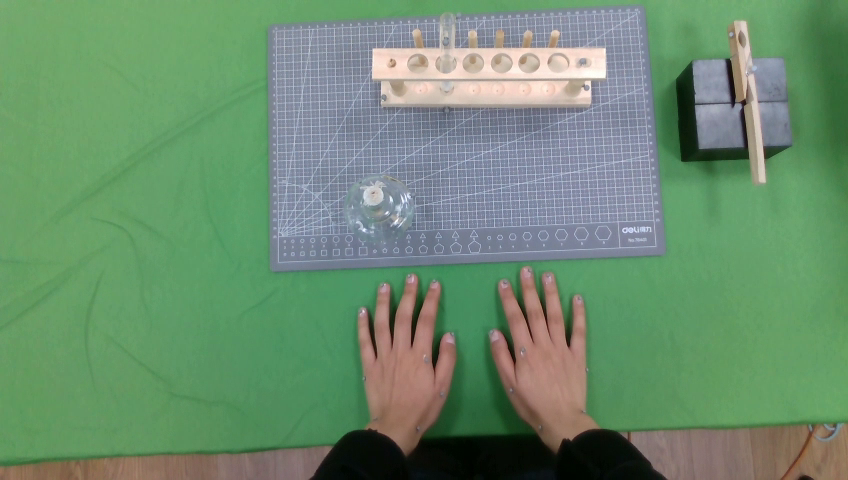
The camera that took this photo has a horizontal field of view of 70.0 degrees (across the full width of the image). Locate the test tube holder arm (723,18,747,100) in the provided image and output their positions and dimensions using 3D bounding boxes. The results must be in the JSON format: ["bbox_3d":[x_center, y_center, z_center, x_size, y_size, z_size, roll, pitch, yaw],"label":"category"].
[{"bbox_3d":[0.336,-0.194,0.651,0.010,0.015,0.087,-6,84,-3],"label":"test tube holder arm"}]

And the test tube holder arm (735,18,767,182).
[{"bbox_3d":[0.347,-0.150,0.647,0.013,0.015,0.178,-7,84,-3],"label":"test tube holder arm"}]

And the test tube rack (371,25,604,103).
[{"bbox_3d":[0.067,-0.198,0.672,0.242,0.085,0.066,1,83,2],"label":"test tube rack"}]

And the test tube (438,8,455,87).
[{"bbox_3d":[0.022,-0.193,0.623,0.017,0.150,0.017,0,81,1],"label":"test tube"}]

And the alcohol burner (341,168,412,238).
[{"bbox_3d":[-0.052,-0.042,0.643,0.078,0.119,0.077,0,82,1],"label":"alcohol burner"}]
